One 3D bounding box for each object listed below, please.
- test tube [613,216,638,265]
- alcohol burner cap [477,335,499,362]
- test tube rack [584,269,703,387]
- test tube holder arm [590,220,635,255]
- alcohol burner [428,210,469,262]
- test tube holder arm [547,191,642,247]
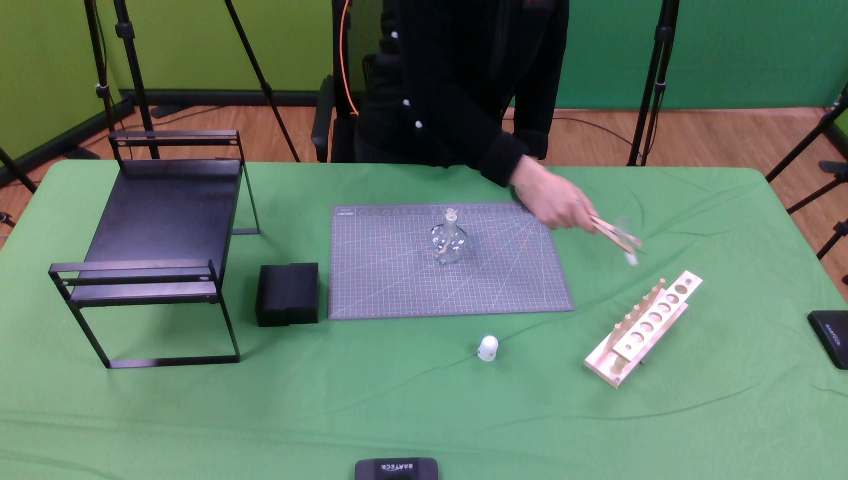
[{"bbox_3d":[0.314,0.004,0.942,0.017,0.151,0.017,-12,59,22],"label":"test tube"},{"bbox_3d":[0.109,0.179,1.017,0.034,0.048,0.033,4,50,-5],"label":"alcohol burner cap"},{"bbox_3d":[0.381,0.139,1.046,0.066,0.085,0.242,37,54,28],"label":"test tube rack"},{"bbox_3d":[0.294,-0.008,0.950,0.010,0.015,0.087,-44,54,1],"label":"test tube holder arm"},{"bbox_3d":[0.048,-0.014,1.146,0.078,0.119,0.077,3,48,-3],"label":"alcohol burner"},{"bbox_3d":[0.270,-0.035,0.976,0.177,0.015,0.013,37,85,35],"label":"test tube holder arm"}]
